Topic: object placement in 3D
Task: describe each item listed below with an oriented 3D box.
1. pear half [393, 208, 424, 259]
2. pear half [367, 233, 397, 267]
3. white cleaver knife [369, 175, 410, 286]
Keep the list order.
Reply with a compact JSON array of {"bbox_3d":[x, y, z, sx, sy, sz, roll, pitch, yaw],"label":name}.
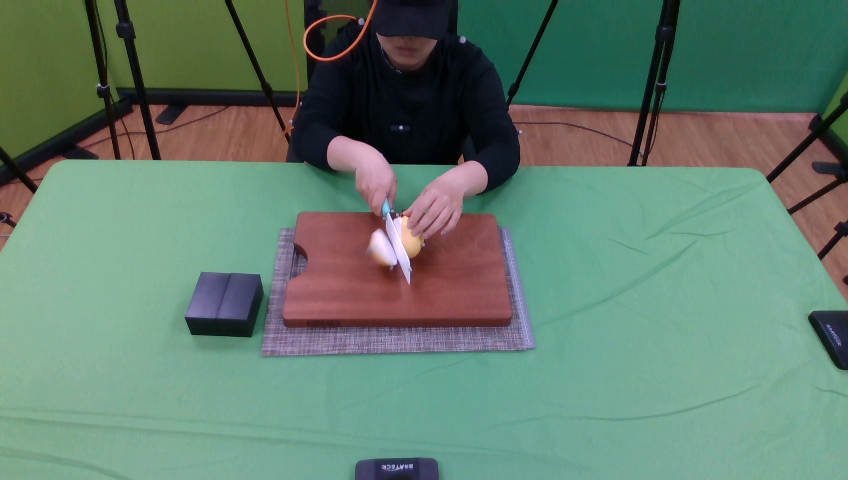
[{"bbox_3d":[-0.028,-0.018,1.112,0.056,0.110,0.076,-14,49,-15],"label":"pear half"},{"bbox_3d":[-0.084,0.023,1.105,0.070,0.031,0.088,55,22,16],"label":"pear half"},{"bbox_3d":[-0.068,-0.026,1.149,0.021,0.066,0.284,-6,43,-16],"label":"white cleaver knife"}]
